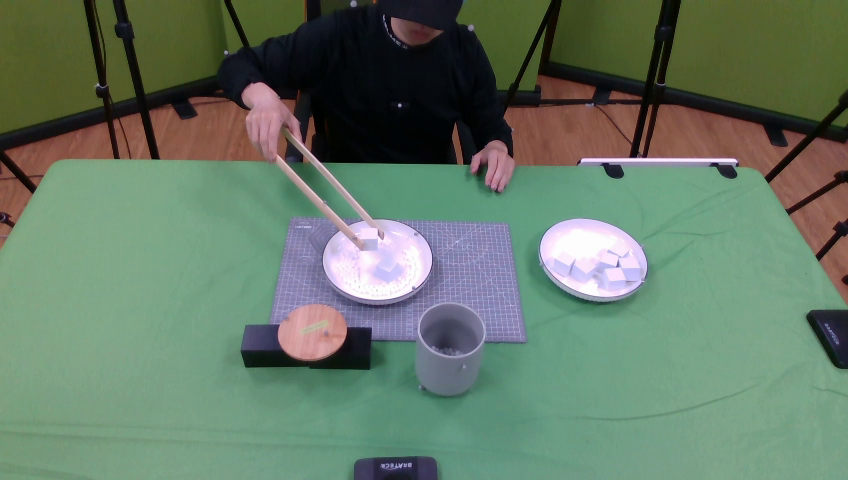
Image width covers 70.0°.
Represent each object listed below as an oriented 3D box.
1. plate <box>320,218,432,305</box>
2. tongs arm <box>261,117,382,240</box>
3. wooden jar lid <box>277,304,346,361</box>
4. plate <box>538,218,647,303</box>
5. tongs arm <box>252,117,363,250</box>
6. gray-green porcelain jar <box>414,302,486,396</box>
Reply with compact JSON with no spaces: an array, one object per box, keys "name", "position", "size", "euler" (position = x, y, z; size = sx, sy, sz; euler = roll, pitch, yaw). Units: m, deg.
[{"name":"plate","position":[-0.089,0.044,1.134],"size":[0.209,0.038,0.208],"euler":[3,46,-2]},{"name":"tongs arm","position":[-0.205,-0.128,1.185],"size":[0.028,0.028,0.385],"euler":[-33,63,-25]},{"name":"wooden jar lid","position":[-0.179,0.150,0.972],"size":[0.108,0.021,0.107],"euler":[2,45,-2]},{"name":"plate","position":[0.322,0.042,1.171],"size":[0.208,0.039,0.206],"euler":[2,46,-2]},{"name":"tongs arm","position":[-0.226,-0.116,1.171],"size":[0.051,0.026,0.383],"euler":[-34,63,-30]},{"name":"gray-green porcelain jar","position":[0.038,0.177,0.958],"size":[0.106,0.127,0.105],"euler":[2,46,-2]}]
